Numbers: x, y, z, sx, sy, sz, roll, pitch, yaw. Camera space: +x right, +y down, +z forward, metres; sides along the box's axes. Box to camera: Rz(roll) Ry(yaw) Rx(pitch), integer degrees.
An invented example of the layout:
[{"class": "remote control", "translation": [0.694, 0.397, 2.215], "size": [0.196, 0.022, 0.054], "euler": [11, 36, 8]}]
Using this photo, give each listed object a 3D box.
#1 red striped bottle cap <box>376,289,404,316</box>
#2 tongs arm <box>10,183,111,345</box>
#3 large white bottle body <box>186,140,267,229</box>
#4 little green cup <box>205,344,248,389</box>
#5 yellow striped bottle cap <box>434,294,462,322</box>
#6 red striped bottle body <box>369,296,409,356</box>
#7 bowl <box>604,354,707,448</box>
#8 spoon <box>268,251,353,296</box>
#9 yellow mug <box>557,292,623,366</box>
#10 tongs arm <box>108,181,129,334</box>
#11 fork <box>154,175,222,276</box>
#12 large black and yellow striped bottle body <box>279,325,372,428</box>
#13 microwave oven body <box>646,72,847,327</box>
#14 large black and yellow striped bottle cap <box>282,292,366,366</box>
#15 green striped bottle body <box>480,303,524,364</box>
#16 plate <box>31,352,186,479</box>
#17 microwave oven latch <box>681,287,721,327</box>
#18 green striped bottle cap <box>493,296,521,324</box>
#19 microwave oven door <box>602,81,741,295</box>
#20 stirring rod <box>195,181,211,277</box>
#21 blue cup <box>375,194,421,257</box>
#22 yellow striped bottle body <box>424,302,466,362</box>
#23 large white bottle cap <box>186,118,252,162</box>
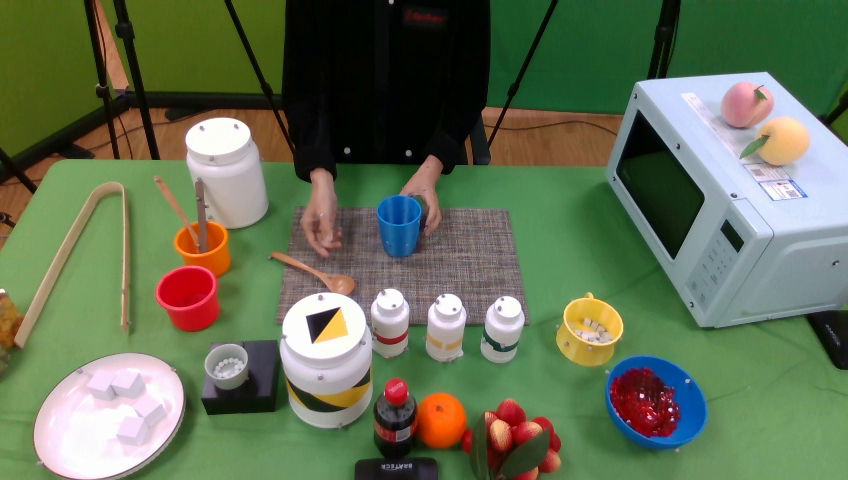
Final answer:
[{"class": "red striped bottle cap", "translation": [-0.054, 0.098, 0.958], "size": [0.044, 0.018, 0.044], "euler": [0, 48, 0]}, {"class": "tongs arm", "translation": [-0.658, 0.027, 1.109], "size": [0.028, 0.028, 0.385], "euler": [-2, 45, 1]}, {"class": "large white bottle body", "translation": [-0.382, -0.127, 1.176], "size": [0.131, 0.185, 0.130], "euler": [2, 46, -2]}, {"class": "little green cup", "translation": [-0.294, 0.191, 0.909], "size": [0.061, 0.039, 0.061], "euler": [1, 47, -1]}, {"class": "yellow striped bottle cap", "translation": [0.038, 0.107, 0.958], "size": [0.044, 0.019, 0.044], "euler": [2, 45, -2]}, {"class": "red striped bottle body", "translation": [-0.059, 0.134, 0.997], "size": [0.063, 0.120, 0.062], "euler": [5, 48, -5]}, {"class": "bowl", "translation": [0.346, 0.261, 0.937], "size": [0.151, 0.077, 0.150], "euler": [2, 46, -2]}, {"class": "spoon", "translation": [-0.212, 0.057, 1.121], "size": [0.193, 0.022, 0.041], "euler": [24, 73, 18]}, {"class": "yellow mug", "translation": [0.285, 0.145, 1.051], "size": [0.100, 0.064, 0.130], "euler": [7, 46, 4]}, {"class": "tongs arm", "translation": [-0.571, 0.019, 1.123], "size": [0.051, 0.026, 0.382], "euler": [-10, 47, -12]}, {"class": "fork", "translation": [-0.431, -0.026, 1.101], "size": [0.028, 0.018, 0.207], "euler": [-33, 100, -25]}, {"class": "large black and yellow striped bottle body", "translation": [-0.143, 0.181, 0.900], "size": [0.131, 0.185, 0.130], "euler": [2, 46, -2]}, {"class": "microwave oven body", "translation": [0.607, -0.089, 1.164], "size": [0.326, 0.261, 0.438], "euler": [-7, 46, -10]}, {"class": "large black and yellow striped bottle cap", "translation": [-0.138, 0.121, 0.841], "size": [0.115, 0.019, 0.114], "euler": [3, 47, -3]}, {"class": "green striped bottle body", "translation": [0.129, 0.147, 1.000], "size": [0.063, 0.120, 0.063], "euler": [2, 46, -2]}, {"class": "plate", "translation": [-0.459, 0.262, 0.898], "size": [0.209, 0.038, 0.208], "euler": [2, 46, -2]}, {"class": "microwave oven latch", "translation": [0.494, 0.119, 1.087], "size": [0.030, 0.029, 0.078], "euler": [-5, 46, -9]}, {"class": "green striped bottle cap", "translation": [0.133, 0.111, 0.962], "size": [0.044, 0.020, 0.044], "euler": [2, 48, -2]}, {"class": "microwave oven door", "translation": [0.456, -0.107, 1.162], "size": [0.039, 0.245, 0.353], "euler": [-7, 47, -11]}, {"class": "stirring rod", "translation": [-0.403, -0.020, 1.104], "size": [0.014, 0.006, 0.176], "euler": [-6, 89, -9]}, {"class": "blue cup", "translation": [-0.050, -0.022, 1.155], "size": [0.093, 0.101, 0.092], "euler": [1, 46, -1]}, {"class": "yellow striped bottle body", "translation": [0.035, 0.143, 0.995], "size": [0.063, 0.121, 0.062], "euler": [3, 46, -3]}, {"class": "large white bottle cap", "translation": [-0.377, -0.185, 1.115], "size": [0.115, 0.018, 0.114], "euler": [2, 46, -2]}]
